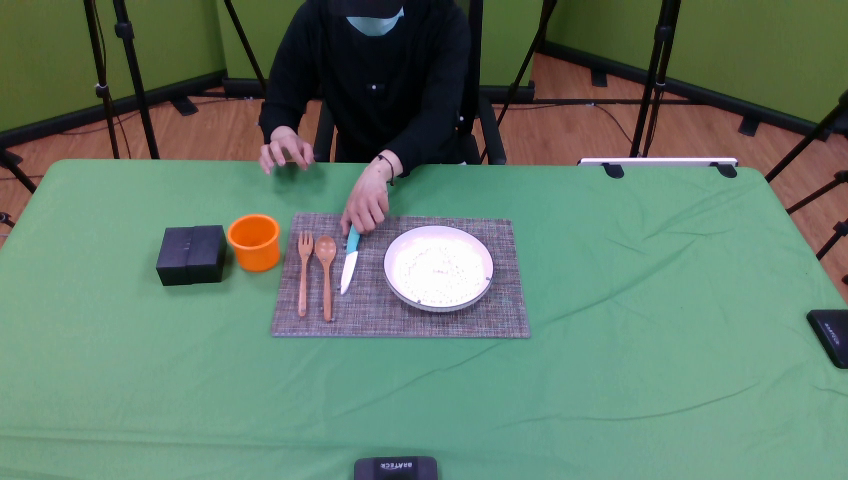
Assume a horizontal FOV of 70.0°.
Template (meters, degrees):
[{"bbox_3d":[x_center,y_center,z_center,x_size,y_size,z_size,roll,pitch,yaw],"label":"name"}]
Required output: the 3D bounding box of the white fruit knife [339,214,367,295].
[{"bbox_3d":[-0.140,0.024,1.163,0.027,0.016,0.206,1,46,7],"label":"white fruit knife"}]

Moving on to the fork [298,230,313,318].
[{"bbox_3d":[-0.222,0.058,1.121,0.028,0.019,0.206,2,44,-10],"label":"fork"}]

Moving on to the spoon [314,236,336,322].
[{"bbox_3d":[-0.180,0.068,1.111,0.042,0.022,0.192,10,43,-20],"label":"spoon"}]

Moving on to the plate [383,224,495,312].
[{"bbox_3d":[0.026,0.055,1.128,0.209,0.038,0.208,2,46,-2],"label":"plate"}]
